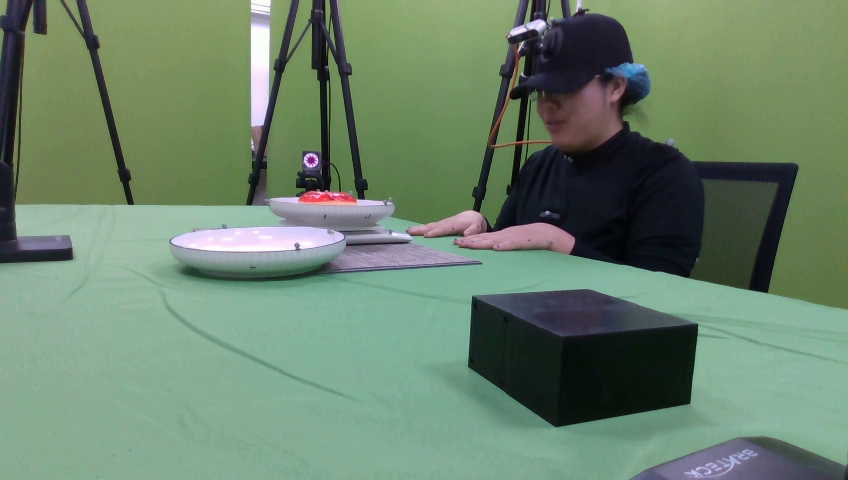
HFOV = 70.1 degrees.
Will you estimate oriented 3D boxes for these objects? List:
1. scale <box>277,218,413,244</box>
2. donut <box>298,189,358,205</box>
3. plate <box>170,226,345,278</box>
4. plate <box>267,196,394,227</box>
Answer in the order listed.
[{"bbox_3d":[-0.134,-0.015,1.015,0.202,0.031,0.148,-1,9,-33],"label":"scale"},{"bbox_3d":[-0.158,-0.059,0.996,0.099,0.048,0.099,2,4,0],"label":"donut"},{"bbox_3d":[-0.202,0.014,0.748,0.209,0.038,0.209,1,9,0],"label":"plate"},{"bbox_3d":[-0.152,-0.047,0.998,0.208,0.039,0.207,2,7,0],"label":"plate"}]
